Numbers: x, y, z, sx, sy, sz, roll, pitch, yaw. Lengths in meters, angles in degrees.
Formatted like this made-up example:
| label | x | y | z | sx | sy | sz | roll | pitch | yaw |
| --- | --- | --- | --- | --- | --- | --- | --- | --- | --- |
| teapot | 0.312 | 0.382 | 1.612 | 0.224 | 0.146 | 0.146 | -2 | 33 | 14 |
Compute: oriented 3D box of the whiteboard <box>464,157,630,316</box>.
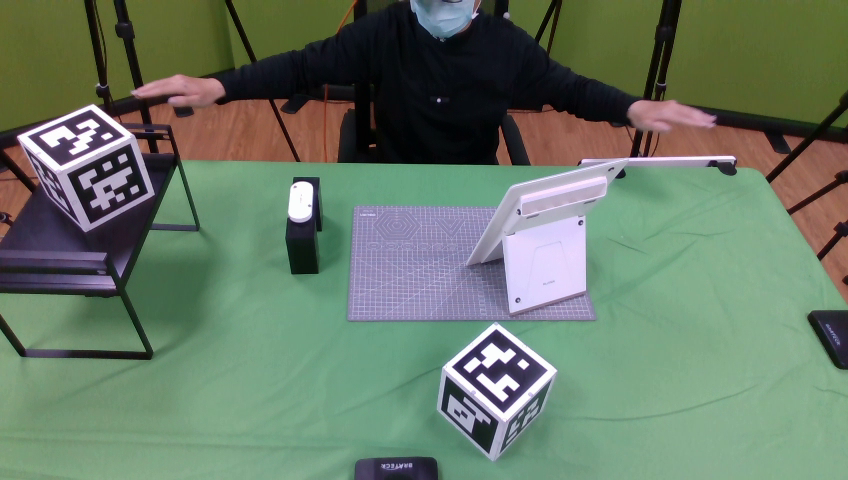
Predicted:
| label | x | y | z | sx | sy | sz | roll | pitch | yaw |
| --- | --- | --- | --- | --- | --- | --- | --- | --- | --- |
| whiteboard | 0.224 | 0.014 | 1.043 | 0.217 | 0.306 | 0.143 | -14 | 68 | -17 |

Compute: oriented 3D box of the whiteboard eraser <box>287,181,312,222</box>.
| label | x | y | z | sx | sy | sz | roll | pitch | yaw |
| --- | --- | --- | --- | --- | --- | --- | --- | --- | --- |
| whiteboard eraser | -0.227 | -0.071 | 1.111 | 0.041 | 0.019 | 0.100 | -2 | 46 | -5 |
